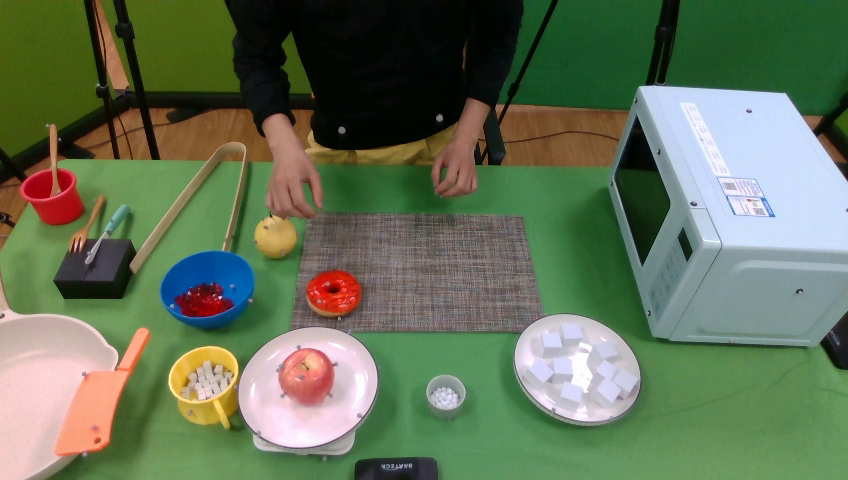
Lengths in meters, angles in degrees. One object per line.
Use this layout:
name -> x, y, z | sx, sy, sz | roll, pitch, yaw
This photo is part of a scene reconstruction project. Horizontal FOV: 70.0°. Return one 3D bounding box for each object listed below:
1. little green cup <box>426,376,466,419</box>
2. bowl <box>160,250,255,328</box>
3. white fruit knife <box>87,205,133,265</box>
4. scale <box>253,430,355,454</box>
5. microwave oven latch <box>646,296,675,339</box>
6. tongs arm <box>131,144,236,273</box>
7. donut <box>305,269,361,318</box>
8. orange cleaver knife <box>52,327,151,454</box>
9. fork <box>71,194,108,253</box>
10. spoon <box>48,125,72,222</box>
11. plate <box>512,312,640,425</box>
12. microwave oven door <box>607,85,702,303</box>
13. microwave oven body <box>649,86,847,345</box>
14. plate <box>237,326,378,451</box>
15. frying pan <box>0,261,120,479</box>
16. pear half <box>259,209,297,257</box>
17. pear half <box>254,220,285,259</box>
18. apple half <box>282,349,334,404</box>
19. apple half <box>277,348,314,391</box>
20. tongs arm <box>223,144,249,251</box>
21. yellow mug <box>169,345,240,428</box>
little green cup -> 0.033, 0.248, 0.950 | 0.061, 0.039, 0.061 | 2, 46, -2
bowl -> -0.362, 0.098, 1.040 | 0.151, 0.077, 0.150 | 2, 45, -2
white fruit knife -> -0.584, -0.013, 1.129 | 0.016, 0.027, 0.206 | -1, 32, -4
scale -> -0.175, 0.236, 0.951 | 0.149, 0.032, 0.199 | 4, 45, 0
microwave oven latch -> 0.412, 0.134, 1.061 | 0.030, 0.029, 0.078 | 4, 45, 1
tongs arm -> -0.483, -0.078, 1.235 | 0.028, 0.028, 0.385 | 6, 45, 13
donut -> -0.160, 0.094, 1.075 | 0.099, 0.048, 0.098 | 4, 45, -3
orange cleaver knife -> -0.462, 0.212, 0.879 | 0.077, 0.012, 0.210 | 6, 45, -1
fork -> -0.634, -0.036, 1.158 | 0.028, 0.019, 0.206 | -8, 31, -8
spoon -> -0.718, -0.131, 1.189 | 0.041, 0.021, 0.193 | -3, 90, -6
plate -> 0.246, 0.213, 0.999 | 0.208, 0.039, 0.206 | 2, 46, -2
microwave oven door -> 0.423, -0.094, 1.140 | 0.039, 0.245, 0.353 | 2, 46, -1
microwave oven body -> 0.567, -0.053, 1.118 | 0.326, 0.261, 0.439 | 2, 45, -1
plate -> -0.174, 0.224, 0.917 | 0.209, 0.038, 0.208 | 2, 46, -2
frying pan -> -0.647, 0.164, 0.936 | 0.307, 0.103, 0.485 | -19, 58, -22
pear half -> -0.273, -0.024, 1.141 | 0.076, 0.110, 0.056 | 27, 50, 16
pear half -> -0.294, 0.003, 1.127 | 0.070, 0.088, 0.031 | 25, 48, 16
apple half -> -0.163, 0.210, 0.895 | 0.053, 0.075, 0.081 | 33, 50, 22
apple half -> -0.195, 0.192, 0.909 | 0.032, 0.081, 0.081 | 33, 53, 22
tongs arm -> -0.397, -0.073, 1.232 | 0.051, 0.026, 0.382 | -2, 45, 0
yellow mug -> -0.322, 0.230, 0.922 | 0.100, 0.064, 0.130 | -24, 53, -25
